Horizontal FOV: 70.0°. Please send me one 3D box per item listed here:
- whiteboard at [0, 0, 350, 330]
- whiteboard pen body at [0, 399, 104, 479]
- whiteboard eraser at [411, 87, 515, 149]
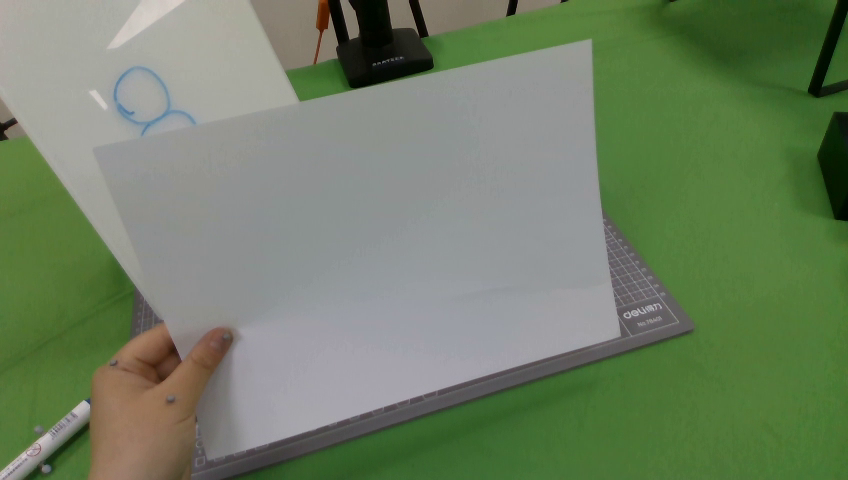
[{"bbox_3d":[-0.249,-0.113,0.579,0.217,0.308,0.142,-37,29,-26],"label":"whiteboard"},{"bbox_3d":[-0.299,0.172,0.444,0.017,0.017,0.140,21,49,29],"label":"whiteboard pen body"},{"bbox_3d":[0.045,-0.139,0.703,0.113,0.042,0.055,-18,45,-9],"label":"whiteboard eraser"}]
